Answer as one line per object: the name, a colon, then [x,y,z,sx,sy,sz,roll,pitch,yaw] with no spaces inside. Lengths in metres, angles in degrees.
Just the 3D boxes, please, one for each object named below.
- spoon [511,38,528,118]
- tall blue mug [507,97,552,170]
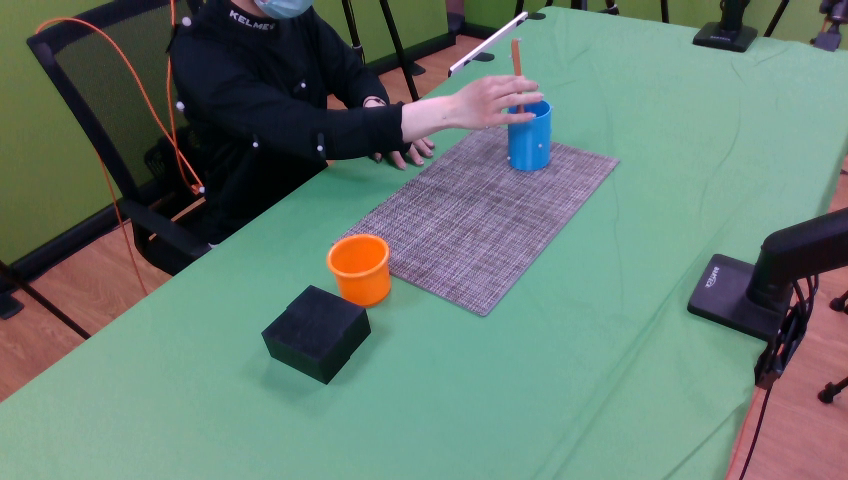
spoon: [0.166,-0.257,1.057,0.041,0.194,0.022,12,40,32]
tall blue mug: [0.179,-0.198,1.101,0.078,0.108,0.106,-36,49,-28]
